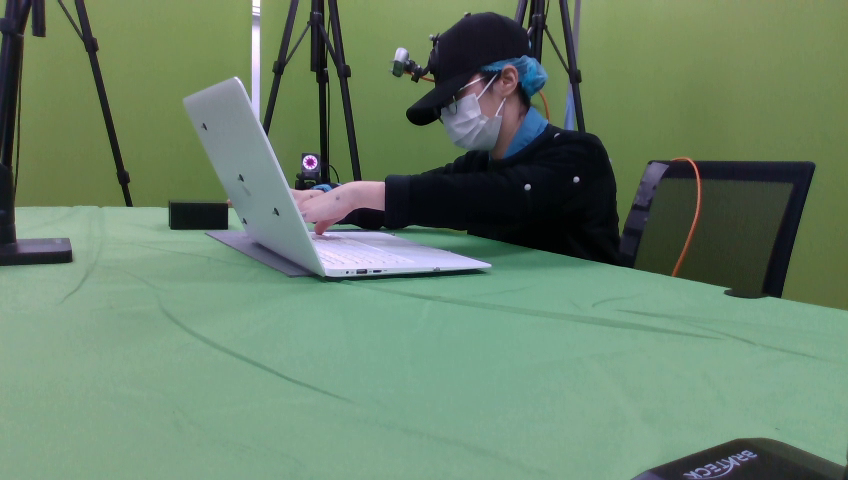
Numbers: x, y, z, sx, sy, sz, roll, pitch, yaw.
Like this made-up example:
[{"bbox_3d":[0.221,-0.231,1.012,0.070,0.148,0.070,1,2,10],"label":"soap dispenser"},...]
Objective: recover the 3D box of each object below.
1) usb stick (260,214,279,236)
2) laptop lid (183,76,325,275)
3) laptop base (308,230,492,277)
[{"bbox_3d":[-0.259,-0.024,1.016,0.021,0.027,0.059,-10,24,-25],"label":"usb stick"},{"bbox_3d":[-0.236,-0.084,0.791,0.013,0.242,0.355,-30,22,-23],"label":"laptop lid"},{"bbox_3d":[-0.094,0.016,0.888,0.237,0.023,0.352,1,7,-30],"label":"laptop base"}]
